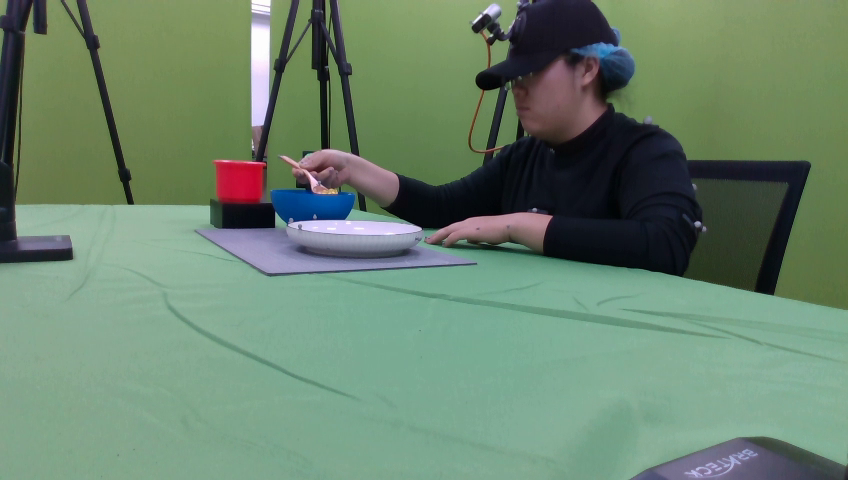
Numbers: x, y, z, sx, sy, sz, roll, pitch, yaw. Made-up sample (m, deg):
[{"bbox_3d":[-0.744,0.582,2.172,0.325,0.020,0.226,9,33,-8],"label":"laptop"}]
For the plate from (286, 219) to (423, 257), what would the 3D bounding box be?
[{"bbox_3d":[-0.105,-0.004,0.922,0.208,0.039,0.207,3,7,0],"label":"plate"}]

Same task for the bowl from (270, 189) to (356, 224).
[{"bbox_3d":[-0.199,-0.049,1.080,0.151,0.077,0.151,3,7,0],"label":"bowl"}]

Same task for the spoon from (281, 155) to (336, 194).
[{"bbox_3d":[-0.216,-0.120,1.110,0.042,0.021,0.192,-6,35,-39],"label":"spoon"}]
